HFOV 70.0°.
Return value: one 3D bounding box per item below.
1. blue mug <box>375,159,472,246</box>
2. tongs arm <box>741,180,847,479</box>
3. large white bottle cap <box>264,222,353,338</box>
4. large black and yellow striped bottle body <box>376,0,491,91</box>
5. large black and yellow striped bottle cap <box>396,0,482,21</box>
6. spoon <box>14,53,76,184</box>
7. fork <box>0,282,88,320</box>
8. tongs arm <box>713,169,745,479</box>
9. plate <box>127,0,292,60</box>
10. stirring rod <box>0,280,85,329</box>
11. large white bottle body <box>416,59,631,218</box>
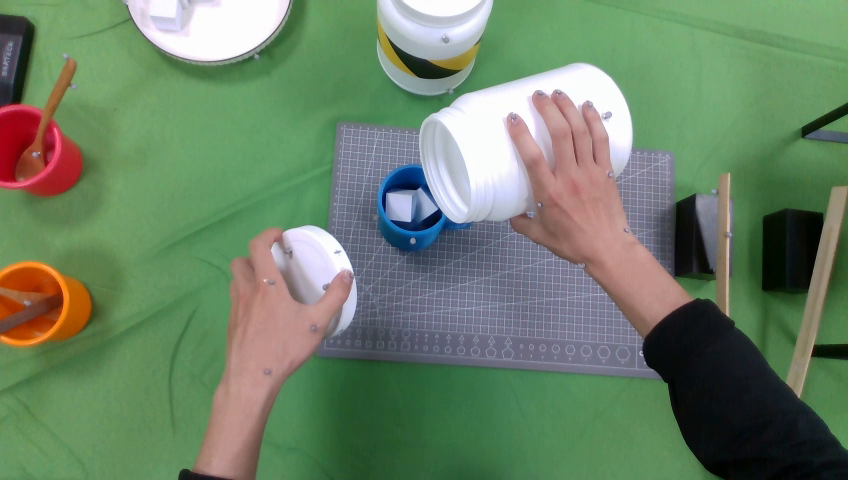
[{"bbox_3d":[0.000,-0.038,0.720,0.117,0.106,0.082,12,80,-3],"label":"blue mug"},{"bbox_3d":[0.456,0.115,0.742,0.028,0.027,0.387,13,92,-11],"label":"tongs arm"},{"bbox_3d":[-0.116,0.040,0.597,0.018,0.114,0.114,-13,79,-51],"label":"large white bottle cap"},{"bbox_3d":[0.008,-0.272,0.719,0.131,0.184,0.130,1,80,-5],"label":"large black and yellow striped bottle body"},{"bbox_3d":[0.015,-0.288,0.637,0.115,0.019,0.114,1,82,-6],"label":"large black and yellow striped bottle cap"},{"bbox_3d":[-0.425,-0.132,0.679,0.041,0.021,0.194,50,124,7],"label":"spoon"},{"bbox_3d":[-0.466,0.045,0.645,0.209,0.018,0.028,32,74,-43],"label":"fork"},{"bbox_3d":[0.375,0.107,0.733,0.051,0.026,0.385,0,93,-7],"label":"tongs arm"},{"bbox_3d":[-0.271,-0.325,0.777,0.208,0.039,0.207,1,81,-5],"label":"plate"},{"bbox_3d":[-0.446,0.084,0.647,0.014,0.006,0.176,51,38,1],"label":"stirring rod"},{"bbox_3d":[0.097,-0.100,0.614,0.185,0.130,0.130,-20,83,-19],"label":"large white bottle body"}]
